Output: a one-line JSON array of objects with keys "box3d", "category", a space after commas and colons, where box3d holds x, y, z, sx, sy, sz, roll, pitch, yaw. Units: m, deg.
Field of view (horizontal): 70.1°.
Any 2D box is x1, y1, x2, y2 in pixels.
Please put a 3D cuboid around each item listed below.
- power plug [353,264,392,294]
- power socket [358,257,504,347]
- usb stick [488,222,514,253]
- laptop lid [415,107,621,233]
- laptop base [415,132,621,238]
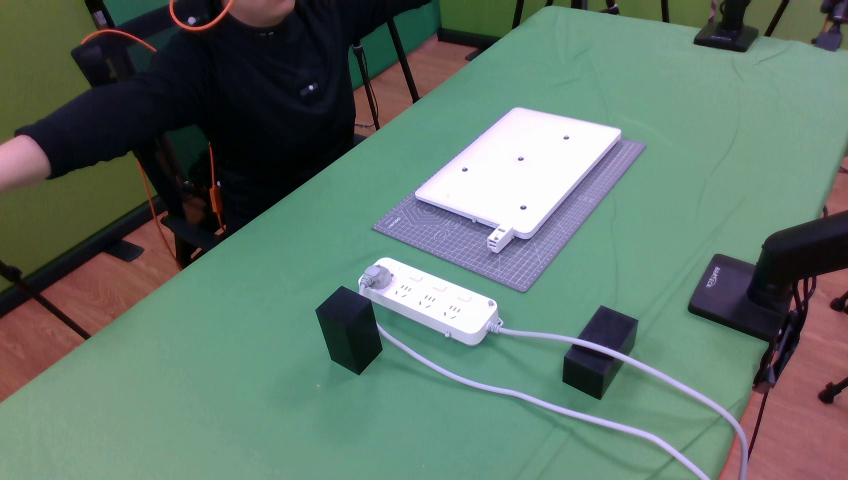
[{"box3d": [-0.078, 0.064, 0.867, 0.073, 0.053, 0.035, -37, 48, -26], "category": "power plug"}, {"box3d": [0.003, 0.084, 0.862, 0.225, 0.033, 0.072, 21, 50, 29], "category": "power socket"}, {"box3d": [0.124, -0.008, 0.944, 0.021, 0.027, 0.059, 25, 47, 31], "category": "usb stick"}, {"box3d": [0.175, -0.144, 1.094, 0.239, 0.013, 0.358, 23, 49, 33], "category": "laptop lid"}, {"box3d": [0.178, -0.134, 1.101, 0.233, 0.023, 0.355, 20, 47, 33], "category": "laptop base"}]
